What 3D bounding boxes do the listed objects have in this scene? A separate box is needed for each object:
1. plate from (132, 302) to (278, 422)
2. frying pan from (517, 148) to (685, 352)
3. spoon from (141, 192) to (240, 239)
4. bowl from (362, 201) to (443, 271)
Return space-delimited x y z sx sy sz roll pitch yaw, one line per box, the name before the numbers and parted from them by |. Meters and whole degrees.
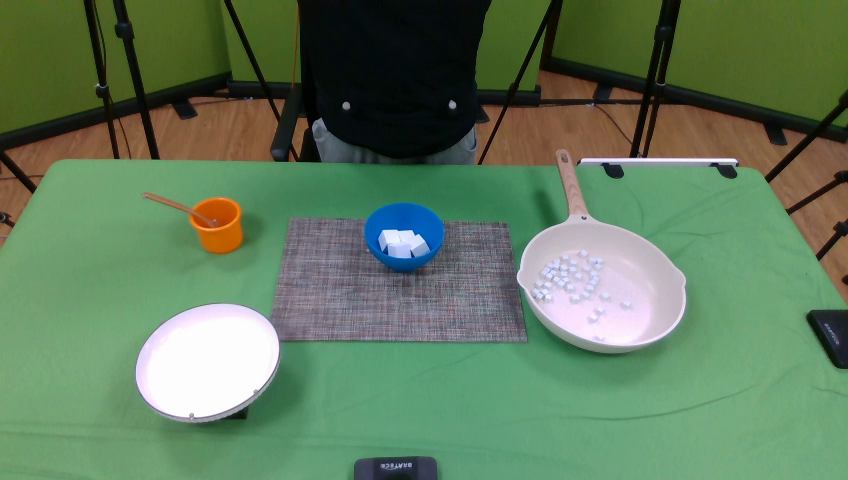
plate | -0.325 0.186 0.916 0.208 0.039 0.206 3 44 -2
frying pan | 0.311 0.002 1.163 0.307 0.103 0.484 0 55 -5
spoon | -0.428 -0.048 1.123 0.021 0.195 0.041 -39 44 20
bowl | -0.041 0.006 1.145 0.151 0.077 0.150 2 46 -2
